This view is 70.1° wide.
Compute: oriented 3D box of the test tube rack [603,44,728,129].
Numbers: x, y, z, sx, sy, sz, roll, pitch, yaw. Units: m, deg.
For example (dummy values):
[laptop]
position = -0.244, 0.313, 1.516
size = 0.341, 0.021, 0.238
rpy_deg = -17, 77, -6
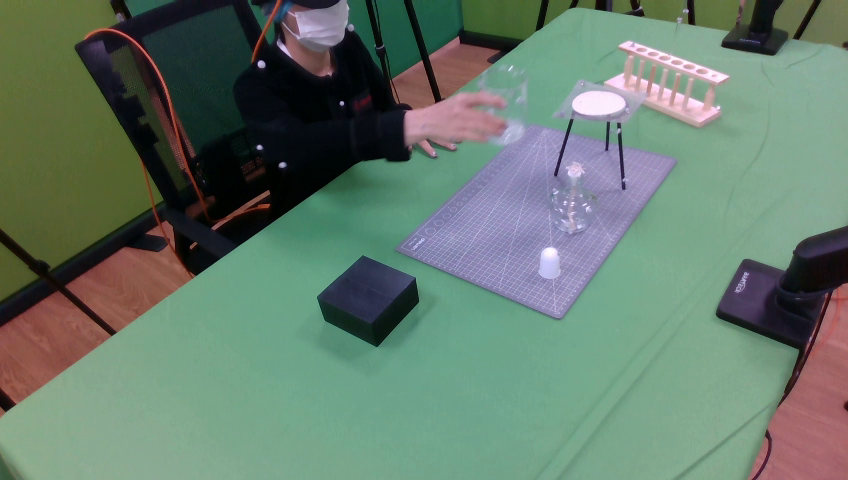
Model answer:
[test tube rack]
position = 0.480, -0.316, 1.227
size = 0.067, 0.085, 0.240
rpy_deg = -28, 44, -22

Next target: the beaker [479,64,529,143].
[beaker]
position = 0.127, -0.209, 0.931
size = 0.073, 0.101, 0.084
rpy_deg = 22, 51, 29

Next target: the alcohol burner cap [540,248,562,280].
[alcohol burner cap]
position = 0.187, 0.032, 0.888
size = 0.034, 0.048, 0.033
rpy_deg = -4, 40, 4

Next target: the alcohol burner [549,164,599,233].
[alcohol burner]
position = 0.236, -0.069, 0.946
size = 0.078, 0.119, 0.077
rpy_deg = -3, 41, 3

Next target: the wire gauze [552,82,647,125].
[wire gauze]
position = 0.293, -0.225, 1.003
size = 0.120, 0.011, 0.125
rpy_deg = 17, 45, 27

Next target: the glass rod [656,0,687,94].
[glass rod]
position = 0.491, -0.381, 1.199
size = 0.008, 0.200, 0.008
rpy_deg = 1, 41, 0

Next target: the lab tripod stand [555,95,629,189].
[lab tripod stand]
position = 0.300, -0.174, 1.045
size = 0.148, 0.132, 0.147
rpy_deg = -5, 38, 5
